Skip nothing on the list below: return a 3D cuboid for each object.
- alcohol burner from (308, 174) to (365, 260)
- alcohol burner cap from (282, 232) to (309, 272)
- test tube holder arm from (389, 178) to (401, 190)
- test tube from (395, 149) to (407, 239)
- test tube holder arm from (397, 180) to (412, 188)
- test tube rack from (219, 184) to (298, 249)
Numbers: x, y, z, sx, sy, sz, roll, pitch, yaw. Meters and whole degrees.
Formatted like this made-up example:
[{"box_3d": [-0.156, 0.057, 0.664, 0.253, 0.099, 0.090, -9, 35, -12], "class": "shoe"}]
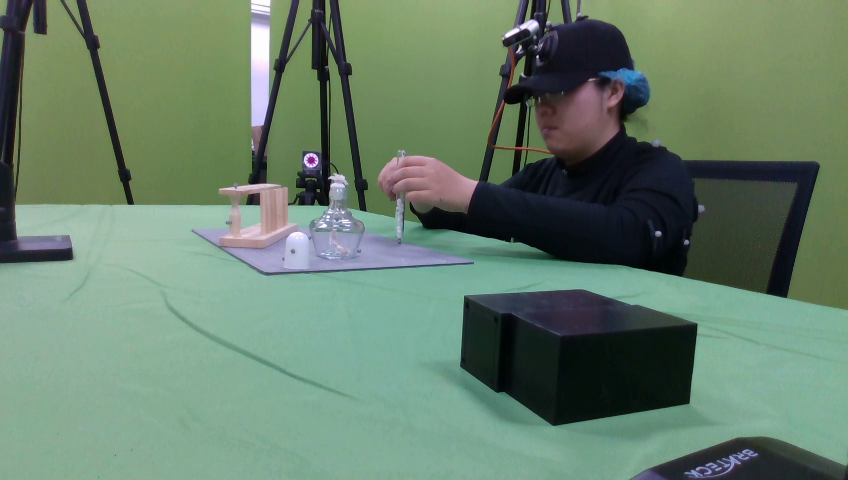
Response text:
[{"box_3d": [-0.121, -0.033, 0.841, 0.078, 0.119, 0.078, 3, 5, 0], "class": "alcohol burner"}, {"box_3d": [-0.157, 0.014, 0.740, 0.034, 0.048, 0.034, 2, 6, 0], "class": "alcohol burner cap"}, {"box_3d": [-0.052, -0.099, 1.074, 0.013, 0.015, 0.178, 8, 2, -8], "class": "test tube holder arm"}, {"box_3d": [-0.039, -0.077, 1.009, 0.017, 0.150, 0.017, 2, 4, 0], "class": "test tube"}, {"box_3d": [-0.038, -0.095, 1.032, 0.010, 0.015, 0.087, 7, 2, -18], "class": "test tube holder arm"}, {"box_3d": [-0.266, -0.046, 1.001, 0.067, 0.085, 0.242, 3, 7, 0], "class": "test tube rack"}]
